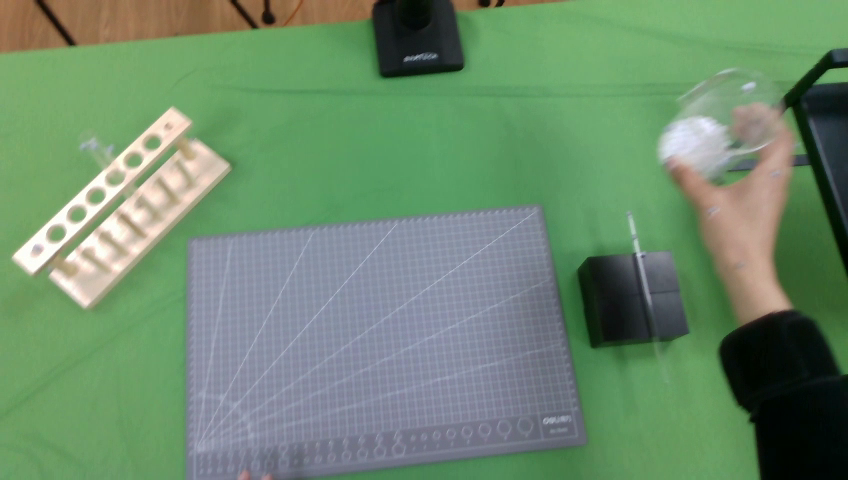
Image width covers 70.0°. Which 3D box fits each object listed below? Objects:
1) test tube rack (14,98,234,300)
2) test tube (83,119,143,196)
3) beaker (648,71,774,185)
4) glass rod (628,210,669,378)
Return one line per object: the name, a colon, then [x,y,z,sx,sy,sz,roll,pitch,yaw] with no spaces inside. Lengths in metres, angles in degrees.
test tube rack: [-0.347,-0.048,0.724,0.066,0.085,0.242,38,75,11]
test tube: [-0.346,-0.089,0.685,0.017,0.151,0.017,2,67,-4]
beaker: [0.248,-0.096,0.546,0.084,0.100,0.074,16,79,5]
glass rod: [0.257,0.058,0.696,0.008,0.008,0.198,-5,72,-3]
